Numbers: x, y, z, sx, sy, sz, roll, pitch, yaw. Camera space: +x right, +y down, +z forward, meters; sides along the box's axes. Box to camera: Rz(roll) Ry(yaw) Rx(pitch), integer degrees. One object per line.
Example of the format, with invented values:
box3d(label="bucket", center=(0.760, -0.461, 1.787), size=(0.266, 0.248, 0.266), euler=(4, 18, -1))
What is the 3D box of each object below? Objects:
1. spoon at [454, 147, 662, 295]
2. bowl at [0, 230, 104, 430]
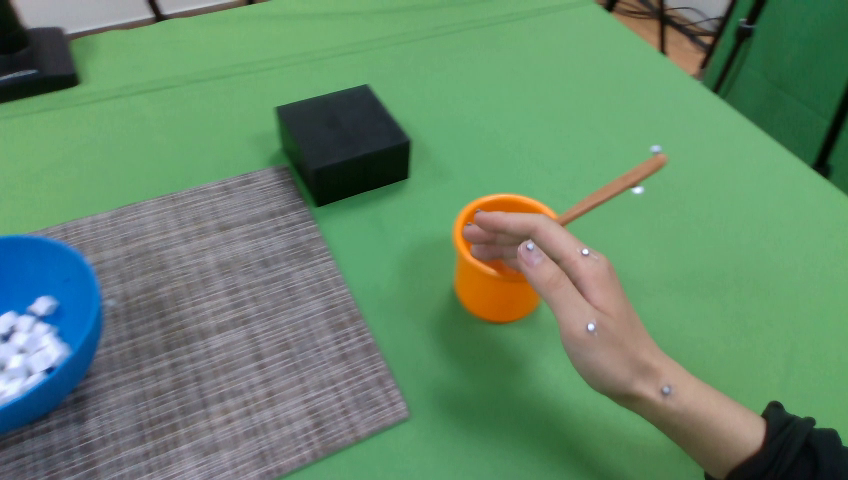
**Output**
box3d(label="spoon", center=(0.103, -0.014, 0.485), size=(0.022, 0.194, 0.041), euler=(25, 36, -46))
box3d(label="bowl", center=(-0.293, 0.074, 0.419), size=(0.151, 0.077, 0.150), euler=(3, 50, -3))
